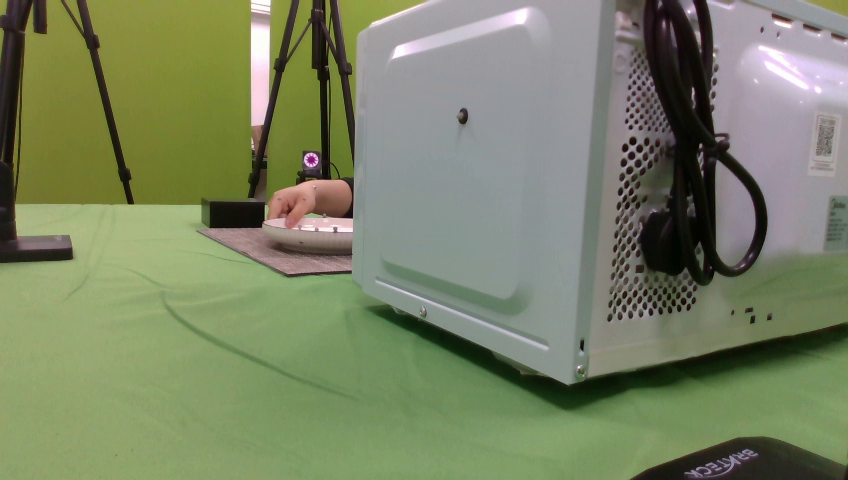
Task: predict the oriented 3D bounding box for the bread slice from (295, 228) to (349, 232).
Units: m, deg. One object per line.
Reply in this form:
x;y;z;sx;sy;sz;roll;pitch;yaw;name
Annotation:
-0.140;-0.006;0.925;0.132;0.019;0.104;0;8;-18;bread slice

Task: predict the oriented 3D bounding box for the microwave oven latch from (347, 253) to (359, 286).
-0.034;0.028;0.581;0.079;0.029;0.030;-1;7;-32;microwave oven latch

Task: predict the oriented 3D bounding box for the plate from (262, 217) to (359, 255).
-0.142;-0.008;0.928;0.209;0.038;0.209;3;8;0;plate

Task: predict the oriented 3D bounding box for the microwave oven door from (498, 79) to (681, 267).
0.230;-0.106;0.924;0.039;0.243;0.354;-1;8;-26;microwave oven door

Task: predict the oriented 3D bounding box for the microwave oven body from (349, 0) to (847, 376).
0.199;-0.053;0.540;0.444;0.260;0.324;-1;7;-32;microwave oven body
